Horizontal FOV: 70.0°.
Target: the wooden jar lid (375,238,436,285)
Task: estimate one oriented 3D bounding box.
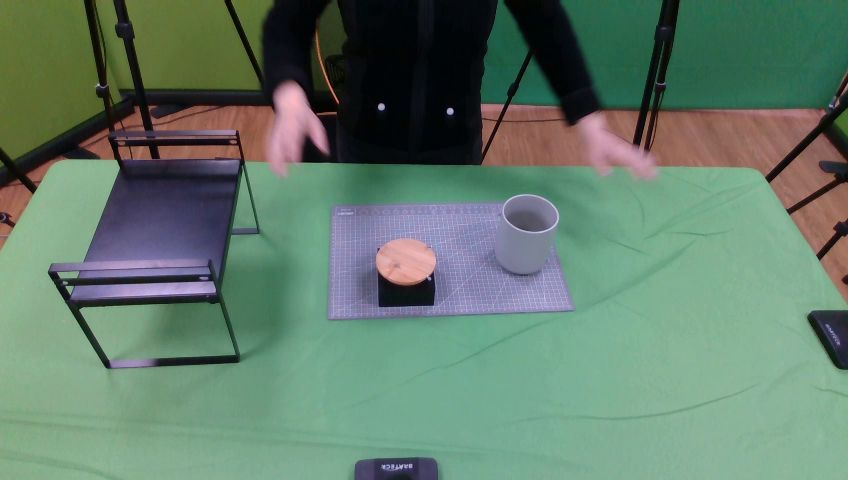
[{"bbox_3d":[-0.033,0.040,1.084,0.108,0.021,0.107,3,46,-3],"label":"wooden jar lid"}]

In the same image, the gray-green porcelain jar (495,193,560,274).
[{"bbox_3d":[0.191,-0.007,1.140,0.106,0.127,0.105,2,46,-2],"label":"gray-green porcelain jar"}]
